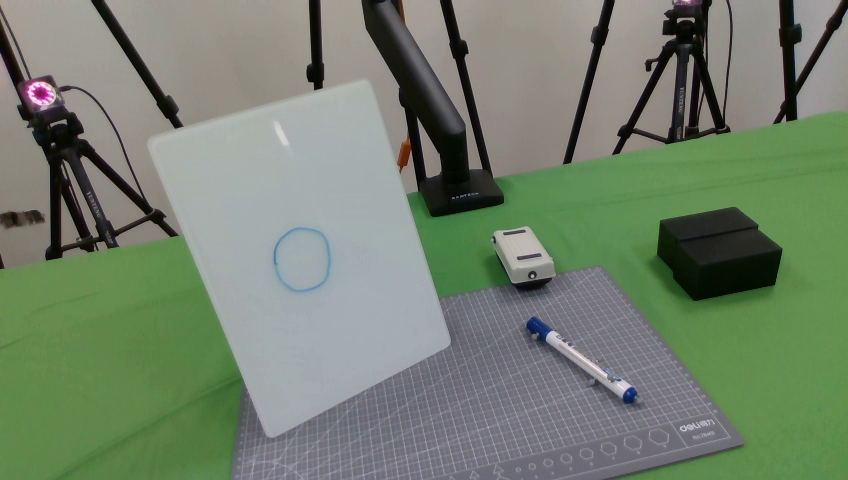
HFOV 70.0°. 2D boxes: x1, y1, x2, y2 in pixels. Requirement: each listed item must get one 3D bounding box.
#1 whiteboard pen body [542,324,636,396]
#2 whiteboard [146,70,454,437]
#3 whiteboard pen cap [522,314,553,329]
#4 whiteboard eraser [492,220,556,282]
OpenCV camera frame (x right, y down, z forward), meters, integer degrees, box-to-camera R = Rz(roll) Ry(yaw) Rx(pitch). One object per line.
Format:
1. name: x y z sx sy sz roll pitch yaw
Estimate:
1. whiteboard pen body: 0.160 0.116 0.624 0.017 0.017 0.139 -23 34 -24
2. whiteboard: -0.131 0.005 0.651 0.217 0.307 0.143 -23 15 -23
3. whiteboard pen cap: 0.125 0.090 0.669 0.033 0.018 0.018 -1 32 15
4. whiteboard eraser: 0.126 0.014 0.777 0.055 0.042 0.111 -12 28 -3
